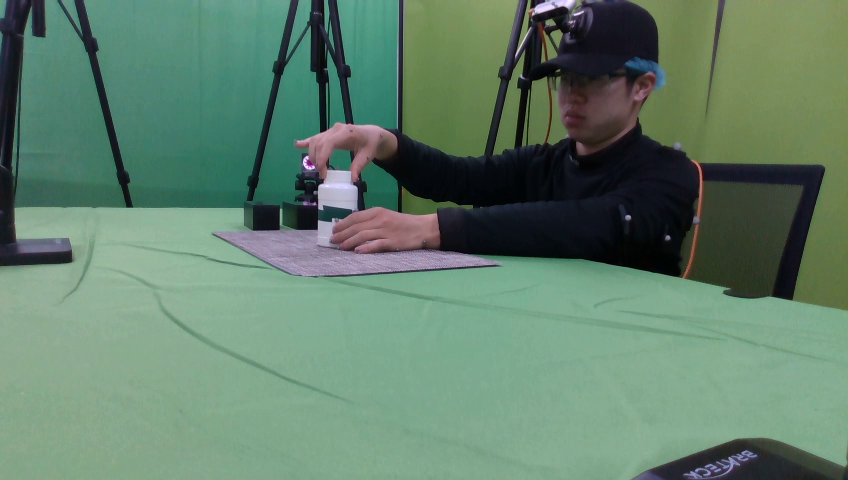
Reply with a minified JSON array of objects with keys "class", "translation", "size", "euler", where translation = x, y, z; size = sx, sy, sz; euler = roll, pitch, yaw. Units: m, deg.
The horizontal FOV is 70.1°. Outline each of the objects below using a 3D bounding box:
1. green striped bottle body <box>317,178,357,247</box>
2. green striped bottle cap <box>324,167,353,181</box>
[{"class":"green striped bottle body","translation":[-0.139,-0.051,0.964],"size":[0.063,0.119,0.063],"euler":[2,7,0]},{"class":"green striped bottle cap","translation":[-0.136,-0.103,0.959],"size":[0.044,0.020,0.044],"euler":[-7,10,2]}]
